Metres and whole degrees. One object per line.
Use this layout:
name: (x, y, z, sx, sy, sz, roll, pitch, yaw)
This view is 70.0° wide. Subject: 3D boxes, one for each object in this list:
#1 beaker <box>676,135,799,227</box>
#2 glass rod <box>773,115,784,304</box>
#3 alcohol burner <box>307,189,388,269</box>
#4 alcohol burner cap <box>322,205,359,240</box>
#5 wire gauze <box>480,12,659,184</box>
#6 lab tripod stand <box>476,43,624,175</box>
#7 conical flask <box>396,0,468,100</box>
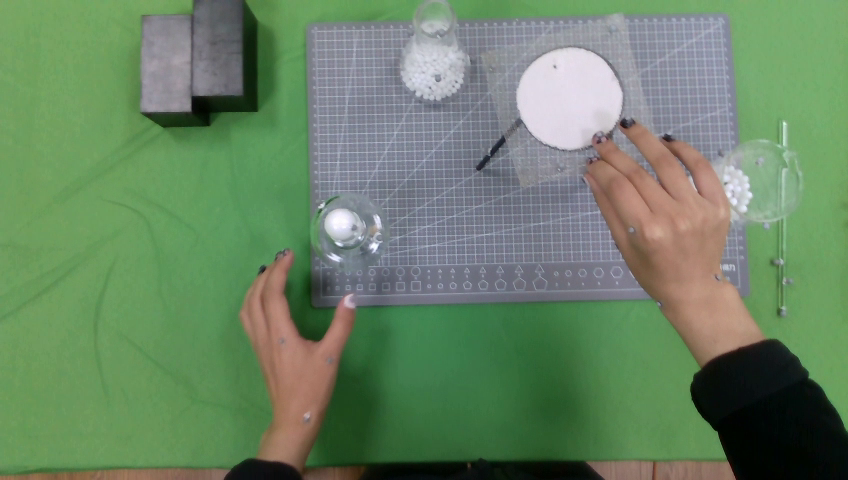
beaker: (0.297, -0.054, 0.583, 0.084, 0.100, 0.074, -39, 86, -3)
glass rod: (0.370, -0.033, 0.631, 0.008, 0.008, 0.199, 2, 85, 0)
alcohol burner: (-0.075, -0.013, 0.572, 0.078, 0.119, 0.077, 0, 85, 2)
alcohol burner cap: (-0.075, -0.017, 0.536, 0.034, 0.048, 0.034, 0, 89, -3)
wire gauze: (0.121, -0.117, 0.503, 0.125, 0.011, 0.121, -15, 87, 0)
lab tripod stand: (0.120, -0.113, 0.570, 0.148, 0.131, 0.148, 0, 87, 1)
conical flask: (0.008, -0.187, 0.581, 0.075, 0.122, 0.075, 0, 85, 1)
